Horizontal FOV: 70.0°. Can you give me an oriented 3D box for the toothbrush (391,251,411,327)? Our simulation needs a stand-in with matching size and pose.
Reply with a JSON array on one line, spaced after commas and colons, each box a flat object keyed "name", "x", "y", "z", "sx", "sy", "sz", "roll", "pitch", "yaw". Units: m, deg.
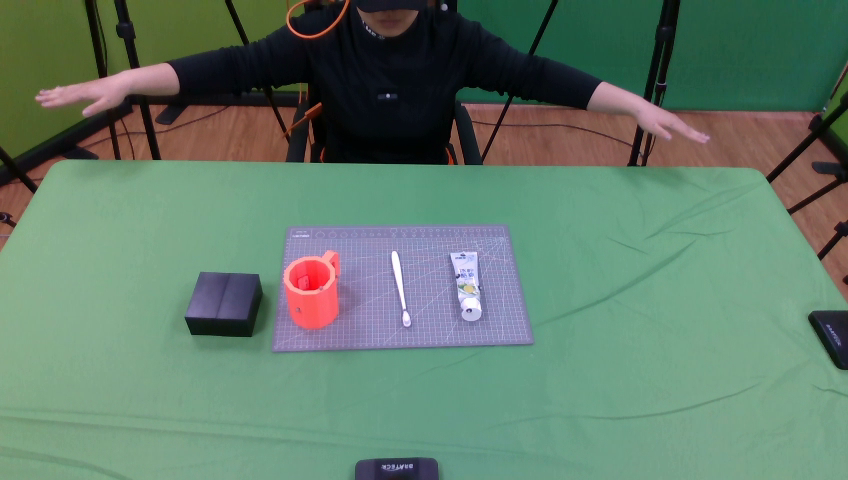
[{"name": "toothbrush", "x": -0.044, "y": 0.085, "z": 1.112, "sx": 0.014, "sy": 0.017, "sz": 0.180, "roll": -14, "pitch": 46, "yaw": 0}]

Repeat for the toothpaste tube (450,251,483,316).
[{"name": "toothpaste tube", "x": 0.084, "y": 0.077, "z": 1.122, "sx": 0.055, "sy": 0.035, "sz": 0.164, "roll": 2, "pitch": 41, "yaw": -8}]

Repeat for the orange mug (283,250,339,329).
[{"name": "orange mug", "x": -0.186, "y": 0.078, "z": 1.052, "sx": 0.083, "sy": 0.101, "sz": 0.126, "roll": 20, "pitch": 52, "yaw": 15}]

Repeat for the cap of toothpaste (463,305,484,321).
[{"name": "cap of toothpaste", "x": 0.087, "y": 0.127, "z": 1.063, "sx": 0.037, "sy": 0.037, "sz": 0.011, "roll": 2, "pitch": 39, "yaw": -2}]
